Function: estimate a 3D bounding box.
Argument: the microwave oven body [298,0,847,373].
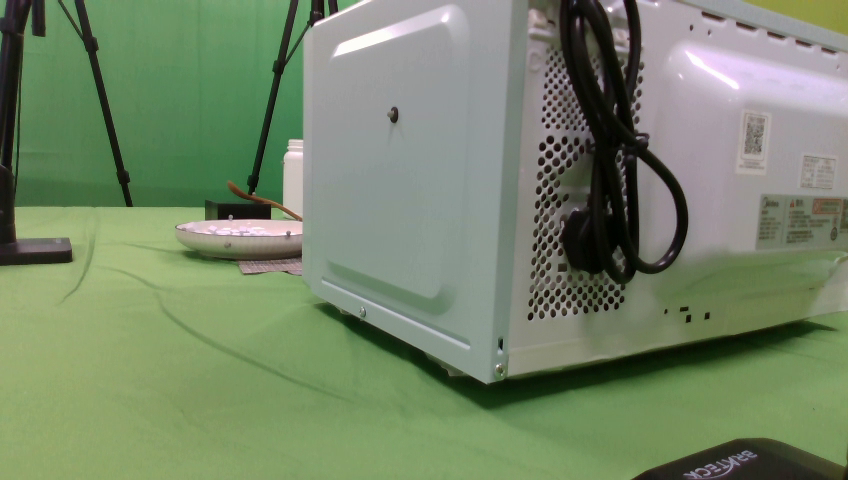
[{"bbox_3d":[0.151,-0.055,0.543,0.444,0.260,0.324,-1,7,-33],"label":"microwave oven body"}]

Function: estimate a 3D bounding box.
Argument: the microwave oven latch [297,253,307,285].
[{"bbox_3d":[-0.082,0.027,0.582,0.079,0.029,0.030,-1,7,-33],"label":"microwave oven latch"}]

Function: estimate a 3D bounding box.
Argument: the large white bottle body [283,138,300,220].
[{"bbox_3d":[-0.265,-0.143,1.423,0.131,0.184,0.130,2,7,0],"label":"large white bottle body"}]

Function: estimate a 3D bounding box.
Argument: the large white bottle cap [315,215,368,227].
[{"bbox_3d":[-0.178,-0.041,1.308,0.115,0.018,0.115,2,6,0],"label":"large white bottle cap"}]

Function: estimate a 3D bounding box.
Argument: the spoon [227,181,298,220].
[{"bbox_3d":[-0.315,-0.074,1.234,0.195,0.021,0.041,24,-9,-37],"label":"spoon"}]

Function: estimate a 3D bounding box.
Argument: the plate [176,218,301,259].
[{"bbox_3d":[-0.248,-0.003,0.877,0.209,0.038,0.209,1,8,0],"label":"plate"}]

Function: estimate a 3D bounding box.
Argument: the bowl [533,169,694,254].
[{"bbox_3d":[0.181,-0.030,0.596,0.151,0.077,0.151,1,7,0],"label":"bowl"}]

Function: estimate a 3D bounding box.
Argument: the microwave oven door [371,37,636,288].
[{"bbox_3d":[0.110,-0.080,0.686,0.358,0.243,0.039,-2,9,-33],"label":"microwave oven door"}]
